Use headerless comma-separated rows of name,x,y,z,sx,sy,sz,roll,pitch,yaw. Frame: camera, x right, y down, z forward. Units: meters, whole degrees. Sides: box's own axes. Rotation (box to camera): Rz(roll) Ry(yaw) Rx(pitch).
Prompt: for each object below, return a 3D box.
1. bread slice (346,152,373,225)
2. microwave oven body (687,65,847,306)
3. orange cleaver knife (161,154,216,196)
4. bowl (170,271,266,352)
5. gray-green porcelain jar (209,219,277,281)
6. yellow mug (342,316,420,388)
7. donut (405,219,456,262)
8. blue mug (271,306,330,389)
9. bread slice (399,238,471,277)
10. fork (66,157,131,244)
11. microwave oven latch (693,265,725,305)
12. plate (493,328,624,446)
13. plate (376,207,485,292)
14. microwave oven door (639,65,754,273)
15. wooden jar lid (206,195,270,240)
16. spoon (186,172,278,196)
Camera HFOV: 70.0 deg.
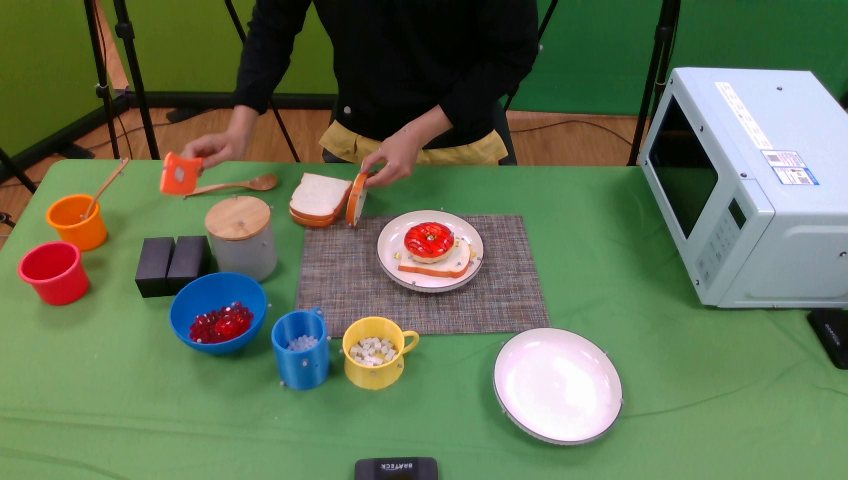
bread slice,-0.129,-0.096,1.222,0.018,0.107,0.133,14,49,3
microwave oven body,0.669,-0.111,1.176,0.326,0.261,0.439,0,46,-3
orange cleaver knife,-0.424,-0.121,1.100,0.012,0.077,0.211,6,11,3
bowl,-0.334,0.132,1.006,0.151,0.077,0.150,2,46,-2
gray-green porcelain jar,-0.323,0.007,1.092,0.106,0.127,0.105,2,46,-2
yellow mug,-0.068,0.177,0.990,0.131,0.064,0.099,-15,50,-19
donut,0.012,0.000,1.140,0.099,0.048,0.098,0,44,0
blue mug,-0.188,0.163,0.969,0.082,0.106,0.116,15,47,10
bread slice,0.025,0.026,1.161,0.131,0.019,0.104,6,47,8
fork,-0.608,-0.074,1.132,0.207,0.019,0.028,-52,48,10
microwave oven latch,0.522,0.081,1.115,0.030,0.029,0.078,2,46,-1
plate,0.213,0.236,0.974,0.208,0.039,0.206,2,46,-2
plate,0.012,0.021,1.158,0.209,0.038,0.208,2,47,-2
microwave oven door,0.522,-0.147,1.193,0.039,0.245,0.353,0,47,-3
wooden jar lid,-0.319,-0.036,1.046,0.108,0.021,0.107,1,44,0
spoon,-0.405,-0.116,1.275,0.194,0.022,0.041,-8,66,-12
